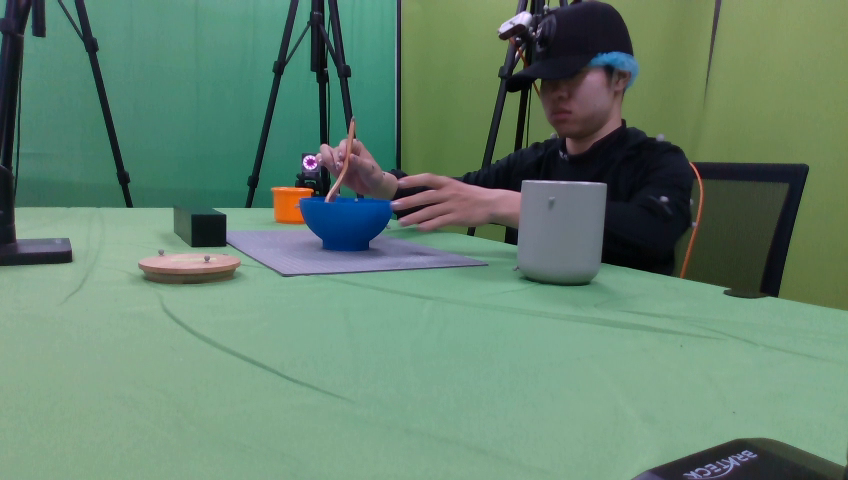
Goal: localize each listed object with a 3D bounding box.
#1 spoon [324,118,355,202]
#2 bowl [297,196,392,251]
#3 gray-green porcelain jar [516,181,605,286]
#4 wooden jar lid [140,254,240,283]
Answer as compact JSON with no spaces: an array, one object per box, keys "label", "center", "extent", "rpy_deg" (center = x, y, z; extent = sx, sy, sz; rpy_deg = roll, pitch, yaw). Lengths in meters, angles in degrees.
[{"label":"spoon","center":[-0.136,-0.112,0.989],"extent":[0.021,0.193,0.041],"rpy_deg":[12,-18,9]},{"label":"bowl","center":[-0.125,-0.026,0.957],"extent":[0.151,0.077,0.151],"rpy_deg":[2,7,0]},{"label":"gray-green porcelain jar","center":[0.172,-0.010,0.768],"extent":[0.106,0.126,0.106],"rpy_deg":[2,7,0]},{"label":"wooden jar lid","center":[-0.269,0.032,0.698],"extent":[0.108,0.020,0.108],"rpy_deg":[2,5,0]}]
